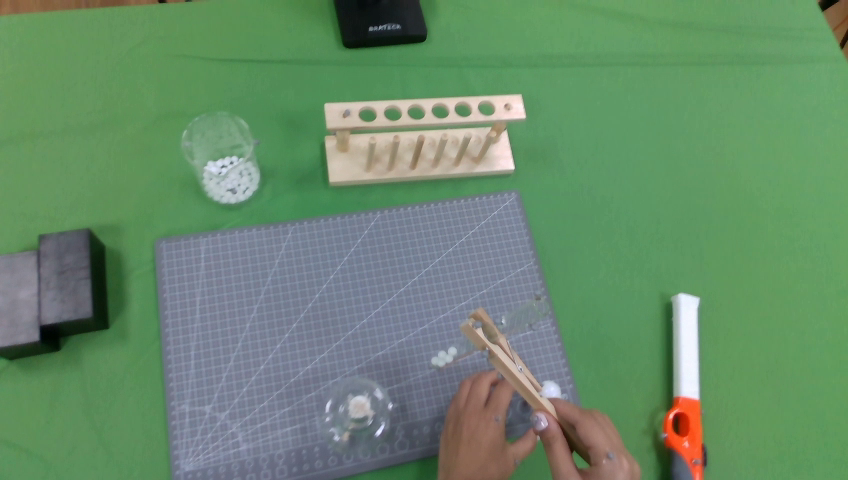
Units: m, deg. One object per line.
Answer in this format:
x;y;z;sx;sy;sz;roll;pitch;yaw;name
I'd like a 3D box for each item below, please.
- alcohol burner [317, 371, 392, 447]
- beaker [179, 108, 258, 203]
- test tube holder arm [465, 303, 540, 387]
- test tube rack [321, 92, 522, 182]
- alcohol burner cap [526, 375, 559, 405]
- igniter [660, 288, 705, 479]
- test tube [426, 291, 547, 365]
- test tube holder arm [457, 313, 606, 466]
-0.069;0.169;0.616;0.078;0.119;0.077;4;67;-9;alcohol burner
-0.232;-0.091;0.698;0.074;0.100;0.083;-6;71;-11;beaker
0.065;0.089;0.498;0.088;0.015;0.010;54;49;-5;test tube holder arm
-0.003;-0.129;0.757;0.243;0.085;0.066;-5;71;-11;test tube rack
0.135;0.170;0.688;0.034;0.048;0.033;3;67;-8;alcohol burner cap
0.306;0.191;0.719;0.057;0.025;0.274;15;68;-14;igniter
0.046;0.076;0.496;0.017;0.150;0.017;18;55;-27;test tube
0.091;0.127;0.501;0.179;0.015;0.013;48;50;-10;test tube holder arm
